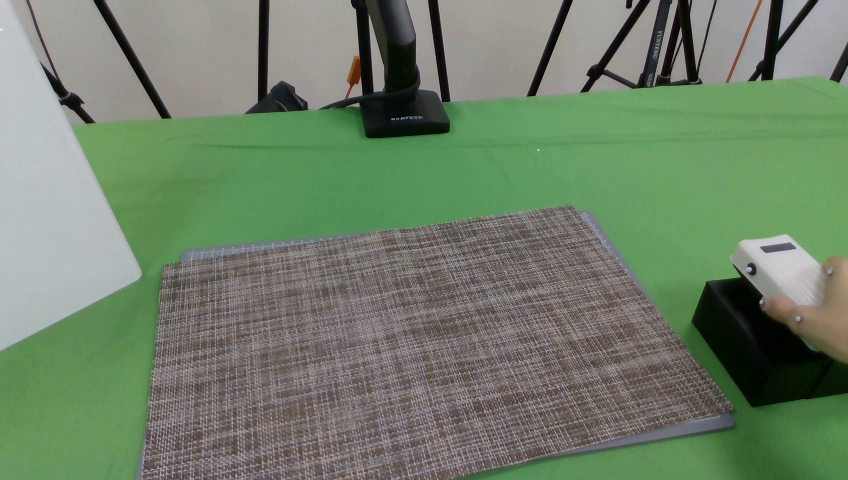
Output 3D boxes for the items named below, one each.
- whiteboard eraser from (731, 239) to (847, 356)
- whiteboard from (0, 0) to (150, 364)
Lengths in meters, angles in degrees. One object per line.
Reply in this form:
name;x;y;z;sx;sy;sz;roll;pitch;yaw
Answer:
whiteboard eraser;0.307;0.047;0.494;0.056;0.042;0.111;-5;38;-13
whiteboard;-0.425;-0.052;0.522;0.142;0.308;0.217;11;35;45
